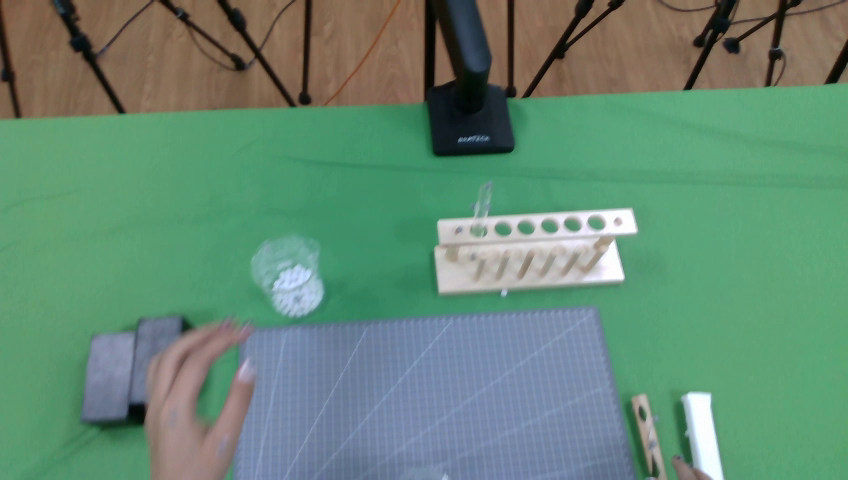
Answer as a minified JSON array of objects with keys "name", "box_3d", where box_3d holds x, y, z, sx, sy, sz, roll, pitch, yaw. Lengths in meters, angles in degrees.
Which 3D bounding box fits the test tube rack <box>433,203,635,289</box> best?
[{"name":"test tube rack","box_3d":[0.136,0.009,0.767,0.243,0.086,0.066,-4,64,-4]}]

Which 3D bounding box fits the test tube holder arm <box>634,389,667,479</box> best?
[{"name":"test tube holder arm","box_3d":[0.266,0.259,0.689,0.013,0.015,0.177,-22,63,25]}]

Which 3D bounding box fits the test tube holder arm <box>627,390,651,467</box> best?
[{"name":"test tube holder arm","box_3d":[0.255,0.220,0.710,0.010,0.015,0.087,-21,63,26]}]

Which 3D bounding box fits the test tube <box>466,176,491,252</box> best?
[{"name":"test tube","box_3d":[0.063,-0.026,0.724,0.017,0.151,0.017,1,60,-1]}]

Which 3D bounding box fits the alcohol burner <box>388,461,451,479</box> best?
[{"name":"alcohol burner","box_3d":[-0.004,0.264,0.619,0.078,0.120,0.077,2,62,-3]}]

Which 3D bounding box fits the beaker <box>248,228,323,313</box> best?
[{"name":"beaker","box_3d":[-0.160,0.039,0.730,0.084,0.101,0.073,-36,71,-19]}]

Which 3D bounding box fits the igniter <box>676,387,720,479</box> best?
[{"name":"igniter","box_3d":[0.316,0.302,0.668,0.057,0.025,0.274,7,64,-10]}]
